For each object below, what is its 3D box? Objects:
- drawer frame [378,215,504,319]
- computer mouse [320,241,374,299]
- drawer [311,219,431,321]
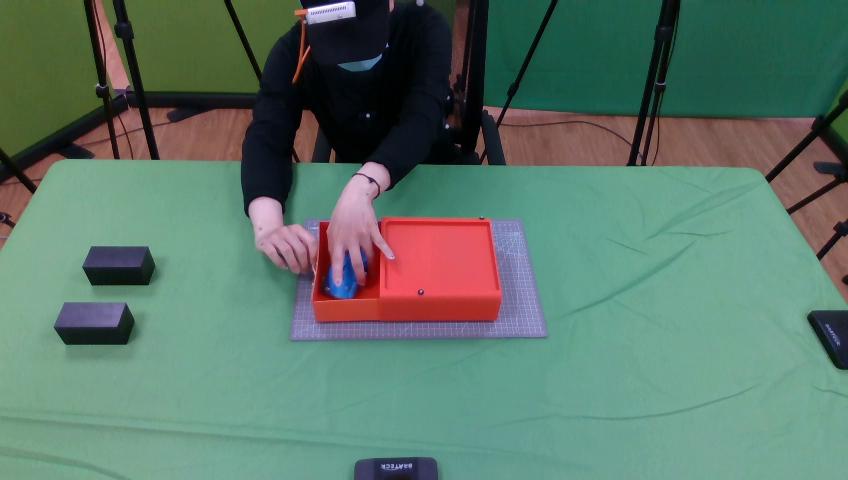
[{"bbox_3d":[0.024,0.047,1.103,0.214,0.083,0.200,0,46,-4],"label":"drawer frame"},{"bbox_3d":[-0.139,0.051,1.105,0.063,0.041,0.117,21,58,8],"label":"computer mouse"},{"bbox_3d":[-0.091,0.049,1.096,0.212,0.073,0.193,-1,46,-3],"label":"drawer"}]
